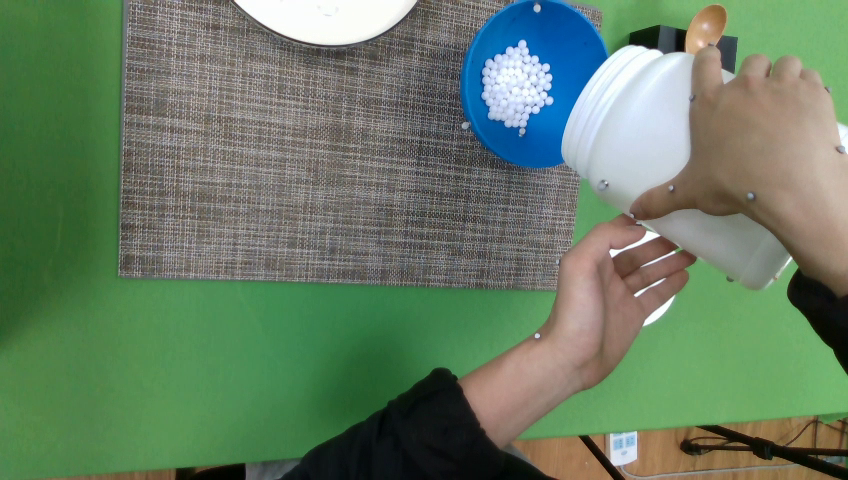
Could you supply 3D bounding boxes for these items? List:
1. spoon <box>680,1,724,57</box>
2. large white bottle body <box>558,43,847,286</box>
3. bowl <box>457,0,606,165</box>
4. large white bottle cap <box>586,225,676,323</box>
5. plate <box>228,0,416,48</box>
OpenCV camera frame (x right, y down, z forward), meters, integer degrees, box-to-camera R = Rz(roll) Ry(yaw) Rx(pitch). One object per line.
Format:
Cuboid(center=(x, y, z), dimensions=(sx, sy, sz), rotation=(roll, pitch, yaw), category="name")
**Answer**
Cuboid(center=(0.259, -0.148, 0.625), dimensions=(0.042, 0.021, 0.194), rotation=(15, 99, -23), category="spoon")
Cuboid(center=(0.209, -0.065, 0.467), dimensions=(0.130, 0.183, 0.132), rotation=(-37, 149, -27), category="large white bottle body")
Cuboid(center=(0.092, -0.148, 0.583), dimensions=(0.152, 0.076, 0.151), rotation=(-3, 100, -18), category="bowl")
Cuboid(center=(0.241, 0.040, 0.700), dimensions=(0.115, 0.017, 0.115), rotation=(-3, 101, -19), category="large white bottle cap")
Cuboid(center=(-0.093, -0.270, 0.523), dimensions=(0.210, 0.038, 0.209), rotation=(-2, 97, -19), category="plate")
